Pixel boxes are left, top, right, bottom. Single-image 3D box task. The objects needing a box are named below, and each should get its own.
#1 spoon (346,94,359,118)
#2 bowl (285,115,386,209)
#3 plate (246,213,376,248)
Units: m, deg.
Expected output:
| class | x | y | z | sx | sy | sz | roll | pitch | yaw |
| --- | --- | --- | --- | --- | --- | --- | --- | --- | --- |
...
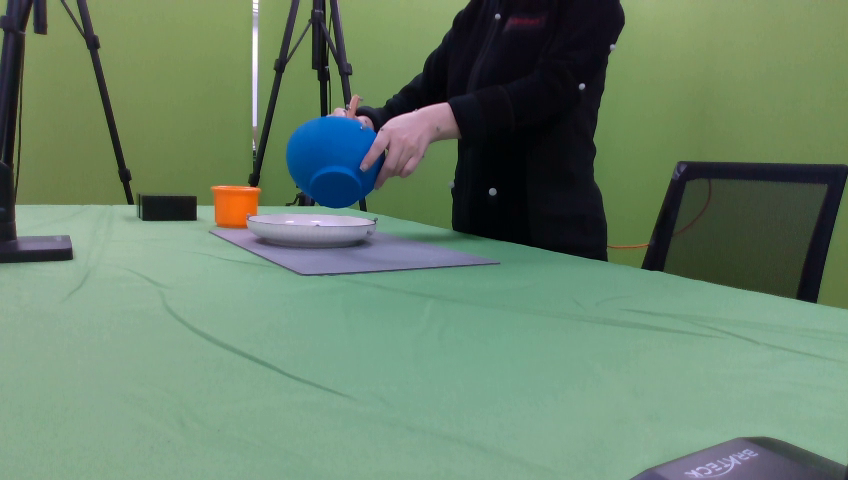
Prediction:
| class | x | y | z | sx | sy | sz | roll | pitch | yaw |
| --- | --- | --- | --- | --- | --- | --- | --- | --- | --- |
| spoon | -0.134 | -0.160 | 0.984 | 0.042 | 0.193 | 0.021 | 12 | -28 | -3 |
| bowl | -0.130 | -0.099 | 0.887 | 0.152 | 0.151 | 0.076 | 1 | 48 | -8 |
| plate | -0.185 | -0.017 | 0.994 | 0.209 | 0.038 | 0.209 | 3 | 8 | 0 |
